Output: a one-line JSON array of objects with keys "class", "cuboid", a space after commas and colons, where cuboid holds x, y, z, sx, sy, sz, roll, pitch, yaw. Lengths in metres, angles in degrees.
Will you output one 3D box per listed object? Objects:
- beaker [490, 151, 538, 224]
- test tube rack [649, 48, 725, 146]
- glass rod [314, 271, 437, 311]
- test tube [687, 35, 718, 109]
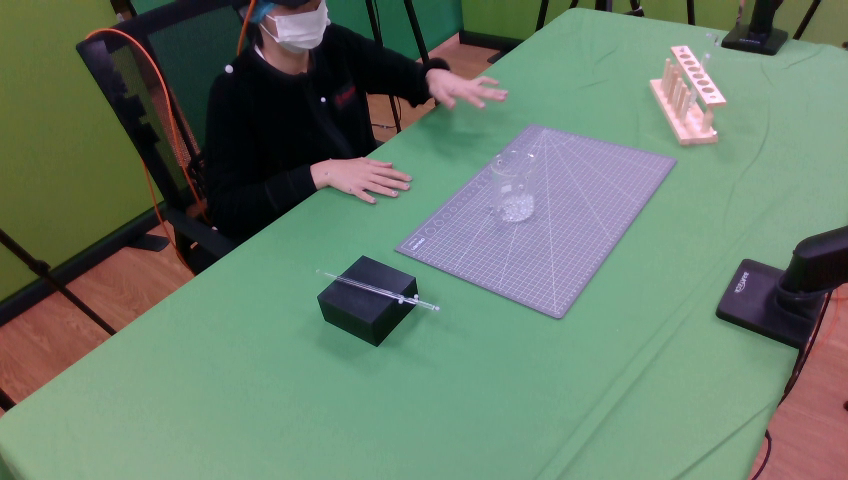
[{"class": "beaker", "cuboid": [0.151, -0.084, 0.988, 0.084, 0.101, 0.073, -24, 43, -19]}, {"class": "test tube rack", "cuboid": [0.508, -0.285, 1.186, 0.067, 0.085, 0.241, -4, 40, 6]}, {"class": "glass rod", "cuboid": [-0.071, 0.069, 0.837, 0.198, 0.008, 0.008, 14, 44, 24]}, {"class": "test tube", "cuboid": [0.521, -0.313, 1.137, 0.017, 0.151, 0.017, 0, 44, 0]}]
